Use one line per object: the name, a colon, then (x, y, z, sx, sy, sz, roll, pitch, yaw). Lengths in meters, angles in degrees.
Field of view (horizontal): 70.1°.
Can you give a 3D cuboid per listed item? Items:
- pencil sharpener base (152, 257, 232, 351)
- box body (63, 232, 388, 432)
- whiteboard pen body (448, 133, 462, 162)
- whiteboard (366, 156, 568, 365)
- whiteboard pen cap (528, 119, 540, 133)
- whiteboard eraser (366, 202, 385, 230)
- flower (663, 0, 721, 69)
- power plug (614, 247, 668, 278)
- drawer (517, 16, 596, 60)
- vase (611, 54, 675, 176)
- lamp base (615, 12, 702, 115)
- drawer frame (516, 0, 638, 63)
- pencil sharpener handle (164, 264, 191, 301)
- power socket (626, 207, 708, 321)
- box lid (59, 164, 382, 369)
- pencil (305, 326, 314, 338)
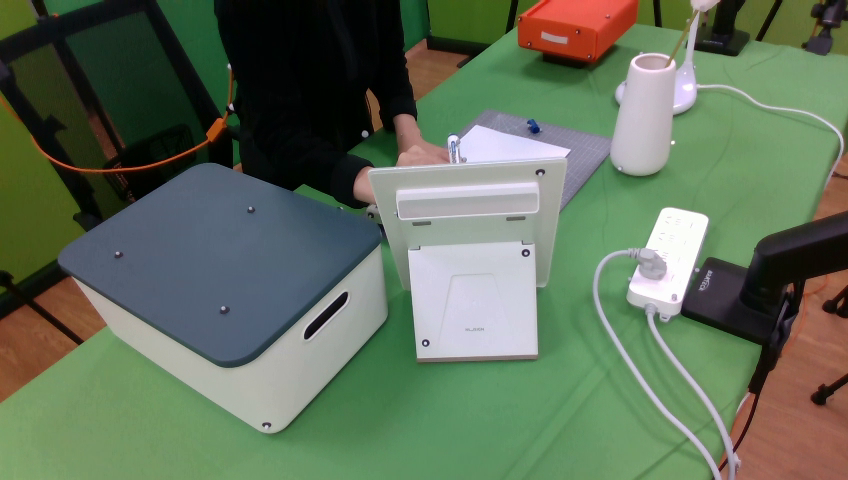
pencil sharpener base: (-0.322, 0.088, 0.842, 0.061, 0.107, 0.076, -27, 44, -20)
box body: (-0.256, 0.065, 0.827, 0.361, 0.161, 0.255, 20, 48, 29)
whiteboard pen body: (0.042, -0.085, 0.775, 0.017, 0.017, 0.140, -5, 53, 2)
whiteboard: (0.059, 0.050, 0.738, 0.217, 0.307, 0.143, -2, 60, 6)
whiteboard pen cap: (0.221, -0.229, 1.211, 0.018, 0.018, 0.033, -13, 40, -7)
whiteboard eraser: (-0.038, -0.038, 1.006, 0.112, 0.042, 0.055, 17, 47, 25)
flower: (0.379, -0.261, 0.965, 0.044, 0.362, 0.038, 20, 53, 5)
power plug: (0.306, 0.031, 0.851, 0.072, 0.053, 0.035, 24, 49, 33)
drawer: (0.353, -0.506, 1.405, 0.193, 0.073, 0.212, 23, 49, 32)
vase: (0.377, -0.209, 1.031, 0.098, 0.201, 0.097, -3, 40, 3)
lamp base: (0.484, -0.363, 1.211, 0.180, 0.181, 0.159, -15, 41, -14)
drawer frame: (0.355, -0.508, 1.410, 0.200, 0.083, 0.214, 23, 51, 32)
pencil sharpener handle: (-0.354, 0.055, 0.866, 0.036, 0.068, 0.030, -16, 39, -29)
power socket: (0.359, 0.025, 0.886, 0.072, 0.033, 0.227, 16, 46, 26)
box lid: (-0.263, 0.010, 0.777, 0.368, 0.015, 0.264, 20, 47, 29)
pencil: (-0.187, 0.105, 0.879, 0.012, 0.012, 0.192, -27, 42, -22)
